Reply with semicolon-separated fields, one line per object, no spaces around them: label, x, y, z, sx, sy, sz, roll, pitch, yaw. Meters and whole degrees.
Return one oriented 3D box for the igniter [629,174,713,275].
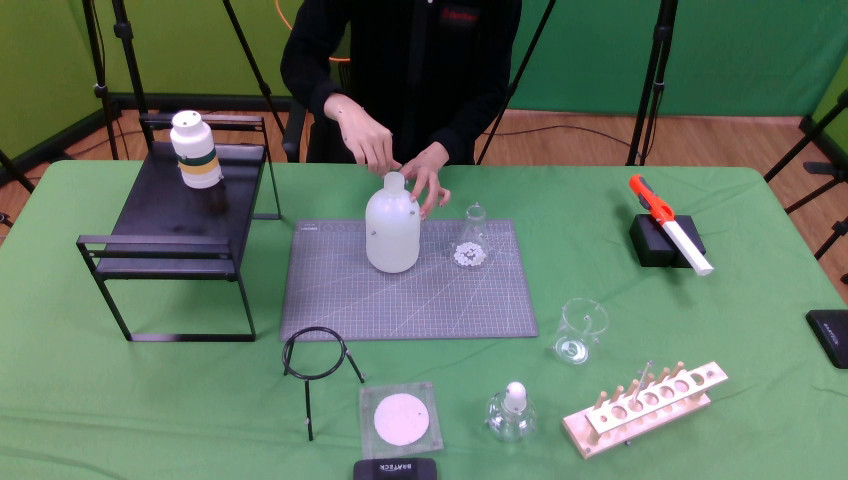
igniter;0.481;-0.040;1.202;0.057;0.025;0.274;-2;46;-21

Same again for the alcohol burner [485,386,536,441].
alcohol burner;0.131;0.249;0.904;0.078;0.120;0.077;1;48;-1

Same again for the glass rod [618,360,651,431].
glass rod;0.298;0.226;0.865;0.008;0.201;0.008;-1;48;2

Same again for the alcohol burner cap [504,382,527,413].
alcohol burner cap;0.133;0.225;0.877;0.034;0.048;0.033;-4;47;5

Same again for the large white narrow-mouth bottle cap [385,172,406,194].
large white narrow-mouth bottle cap;-0.048;-0.098;1.036;0.038;0.024;0.037;4;46;-4

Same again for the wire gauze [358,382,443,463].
wire gauze;-0.039;0.277;0.937;0.121;0.011;0.124;-4;47;-7

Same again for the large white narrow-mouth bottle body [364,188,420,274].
large white narrow-mouth bottle body;-0.058;-0.033;1.104;0.102;0.195;0.101;4;46;-4

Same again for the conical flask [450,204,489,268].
conical flask;0.091;-0.010;1.141;0.075;0.122;0.075;2;46;-2

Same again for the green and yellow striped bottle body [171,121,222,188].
green and yellow striped bottle body;-0.375;-0.149;0.995;0.063;0.120;0.063;2;46;-2

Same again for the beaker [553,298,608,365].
beaker;0.260;0.154;1.015;0.073;0.101;0.084;37;54;27

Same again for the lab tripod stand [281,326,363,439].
lab tripod stand;-0.166;0.202;0.913;0.148;0.132;0.147;1;47;-1

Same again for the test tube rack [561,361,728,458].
test tube rack;0.341;0.248;0.940;0.243;0.085;0.066;-15;49;-18

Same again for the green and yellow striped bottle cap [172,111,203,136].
green and yellow striped bottle cap;-0.374;-0.185;0.957;0.045;0.020;0.045;3;45;-3
